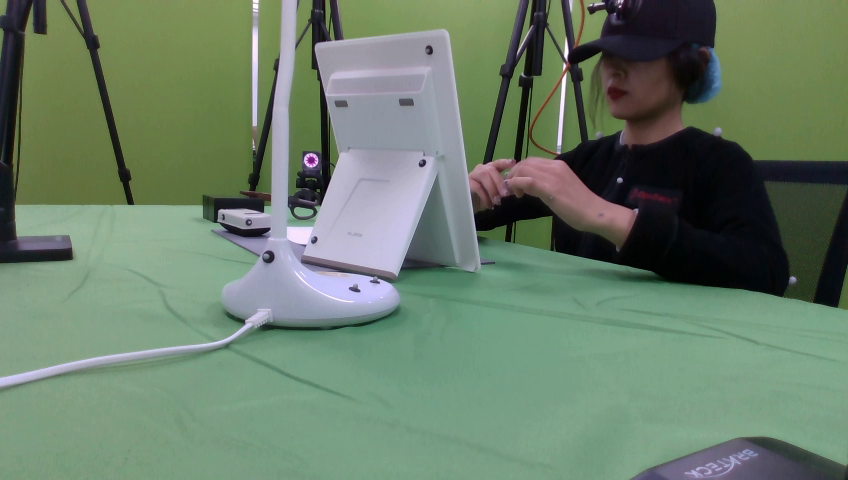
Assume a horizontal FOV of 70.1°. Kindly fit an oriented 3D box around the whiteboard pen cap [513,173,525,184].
[{"bbox_3d":[0.135,-0.087,0.863,0.018,0.018,0.033,3,5,5],"label":"whiteboard pen cap"}]

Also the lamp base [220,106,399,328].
[{"bbox_3d":[-0.101,-0.023,0.531,0.160,0.180,0.179,4,10,10],"label":"lamp base"}]

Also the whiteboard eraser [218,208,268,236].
[{"bbox_3d":[-0.309,-0.031,1.044,0.056,0.042,0.112,-2,9,-40],"label":"whiteboard eraser"}]

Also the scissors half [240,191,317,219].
[{"bbox_3d":[-0.317,-0.079,1.326,0.176,0.040,0.013,18,15,-31],"label":"scissors half"}]

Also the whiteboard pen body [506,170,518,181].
[{"bbox_3d":[0.139,-0.096,0.921,0.017,0.017,0.141,3,9,2],"label":"whiteboard pen body"}]

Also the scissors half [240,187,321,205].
[{"bbox_3d":[-0.311,-0.097,1.319,0.176,0.040,0.012,-1,30,-25],"label":"scissors half"}]

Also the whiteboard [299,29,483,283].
[{"bbox_3d":[-0.074,-0.082,0.742,0.216,0.305,0.144,9,29,38],"label":"whiteboard"}]
